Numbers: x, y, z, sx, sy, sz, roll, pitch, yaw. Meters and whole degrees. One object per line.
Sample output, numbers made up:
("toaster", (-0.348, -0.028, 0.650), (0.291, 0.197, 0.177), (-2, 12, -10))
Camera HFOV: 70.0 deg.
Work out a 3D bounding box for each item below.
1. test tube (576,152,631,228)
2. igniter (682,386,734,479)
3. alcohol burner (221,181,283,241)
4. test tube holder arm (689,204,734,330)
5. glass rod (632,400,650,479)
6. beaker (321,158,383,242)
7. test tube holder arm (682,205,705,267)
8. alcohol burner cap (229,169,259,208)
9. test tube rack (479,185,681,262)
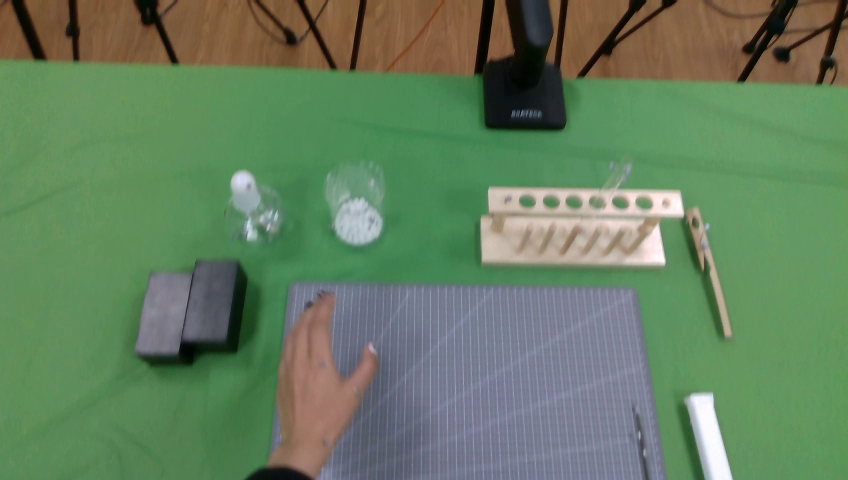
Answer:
("test tube", (0.218, -0.057, 0.746), (0.017, 0.151, 0.017), (3, 60, -6))
("igniter", (0.334, 0.301, 0.670), (0.057, 0.025, 0.274), (2, 64, -13))
("alcohol burner", (-0.219, -0.047, 0.758), (0.078, 0.120, 0.077), (1, 62, -1))
("test tube holder arm", (0.379, 0.033, 0.803), (0.013, 0.015, 0.177), (-21, 62, 27))
("glass rod", (0.253, 0.281, 0.682), (0.008, 0.008, 0.198), (1, 64, -3))
("beaker", (-0.087, -0.048, 0.774), (0.073, 0.101, 0.084), (37, 68, 14))
("test tube holder arm", (0.369, -0.006, 0.823), (0.010, 0.015, 0.087), (-21, 62, 27))
("alcohol burner cap", (-0.217, -0.065, 0.726), (0.034, 0.048, 0.033), (4, 58, -6))
("test tube rack", (0.197, -0.019, 0.782), (0.242, 0.086, 0.066), (1, 64, -2))
